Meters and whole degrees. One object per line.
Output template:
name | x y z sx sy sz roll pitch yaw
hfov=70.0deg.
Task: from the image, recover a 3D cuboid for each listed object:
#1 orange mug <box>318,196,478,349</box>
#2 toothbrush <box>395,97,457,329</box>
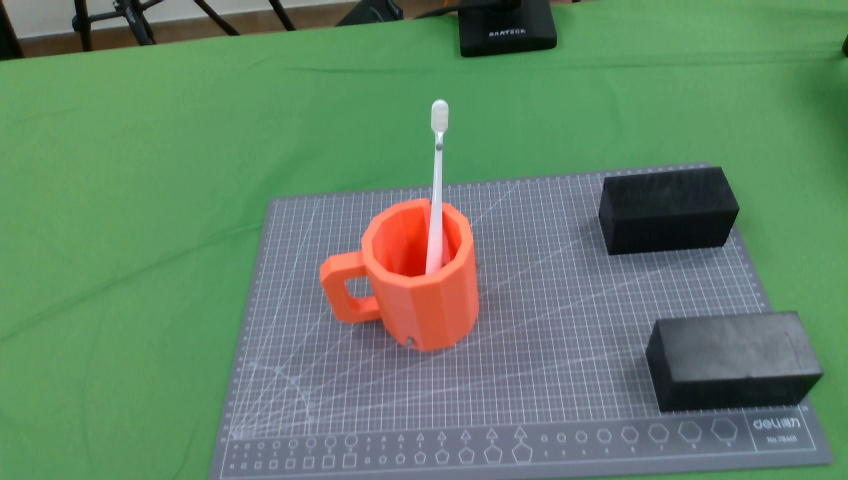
orange mug | -0.019 0.030 0.492 0.126 0.102 0.082 -8 51 -4
toothbrush | 0.000 -0.017 0.464 0.016 0.182 0.014 20 14 37
